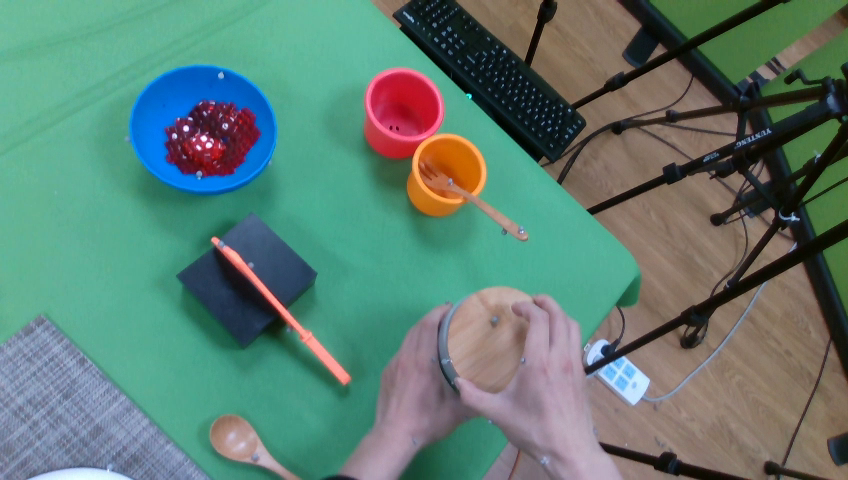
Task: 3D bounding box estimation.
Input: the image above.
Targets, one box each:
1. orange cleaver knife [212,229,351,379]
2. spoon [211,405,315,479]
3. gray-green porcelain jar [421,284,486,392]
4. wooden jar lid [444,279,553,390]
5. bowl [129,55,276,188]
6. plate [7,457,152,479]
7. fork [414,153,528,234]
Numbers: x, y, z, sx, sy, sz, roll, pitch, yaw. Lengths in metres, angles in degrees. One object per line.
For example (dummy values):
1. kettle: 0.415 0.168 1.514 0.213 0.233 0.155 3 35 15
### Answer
1. orange cleaver knife: -0.153 0.070 0.655 0.012 0.076 0.213 -43 113 -17
2. spoon: -0.145 0.242 0.643 0.194 0.022 0.041 38 51 -2
3. gray-green porcelain jar: 0.056 0.113 0.674 0.106 0.127 0.105 4 71 -11
4. wooden jar lid: 0.073 0.093 0.598 0.108 0.021 0.108 1 84 -7
5. bowl: -0.244 -0.121 0.684 0.152 0.077 0.150 4 75 -14
6. plate: -0.331 0.311 0.563 0.210 0.038 0.208 4 75 -14
7. fork: 0.051 -0.057 0.707 0.028 0.019 0.205 -29 41 -20
